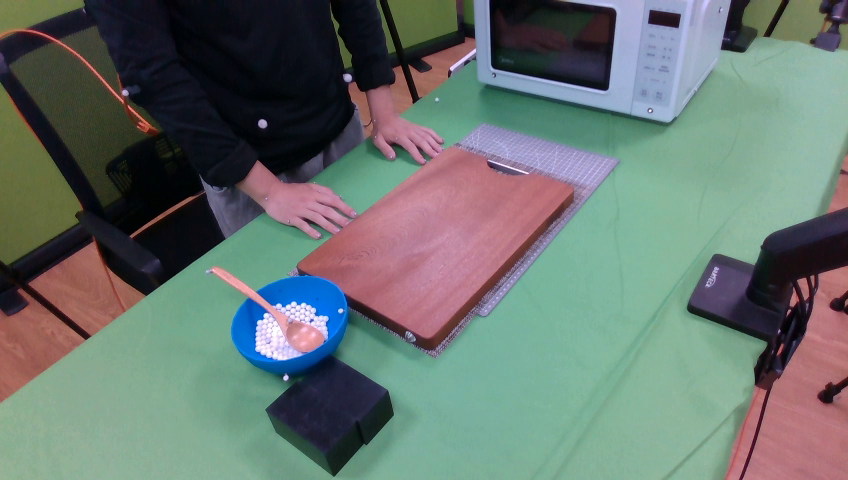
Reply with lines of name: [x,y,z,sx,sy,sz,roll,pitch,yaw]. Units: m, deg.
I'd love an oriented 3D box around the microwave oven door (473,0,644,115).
microwave oven door: [0.257,-0.396,1.199,0.353,0.245,0.039,21,48,29]

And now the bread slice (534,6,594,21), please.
bread slice: [0.300,-0.480,1.278,0.106,0.018,0.134,9,29,22]

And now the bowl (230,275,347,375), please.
bowl: [-0.171,0.125,0.802,0.151,0.077,0.150,-4,40,4]

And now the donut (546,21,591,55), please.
donut: [0.310,-0.435,1.299,0.099,0.048,0.098,-21,35,16]

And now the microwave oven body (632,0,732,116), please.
microwave oven body: [0.377,-0.462,1.267,0.438,0.261,0.327,21,48,30]

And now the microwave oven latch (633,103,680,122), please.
microwave oven latch: [0.443,-0.249,1.157,0.078,0.029,0.030,21,48,30]

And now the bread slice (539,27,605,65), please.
bread slice: [0.332,-0.432,1.339,0.132,0.019,0.104,-43,44,-22]

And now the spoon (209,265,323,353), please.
spoon: [-0.213,0.087,0.806,0.193,0.021,0.042,37,56,11]
